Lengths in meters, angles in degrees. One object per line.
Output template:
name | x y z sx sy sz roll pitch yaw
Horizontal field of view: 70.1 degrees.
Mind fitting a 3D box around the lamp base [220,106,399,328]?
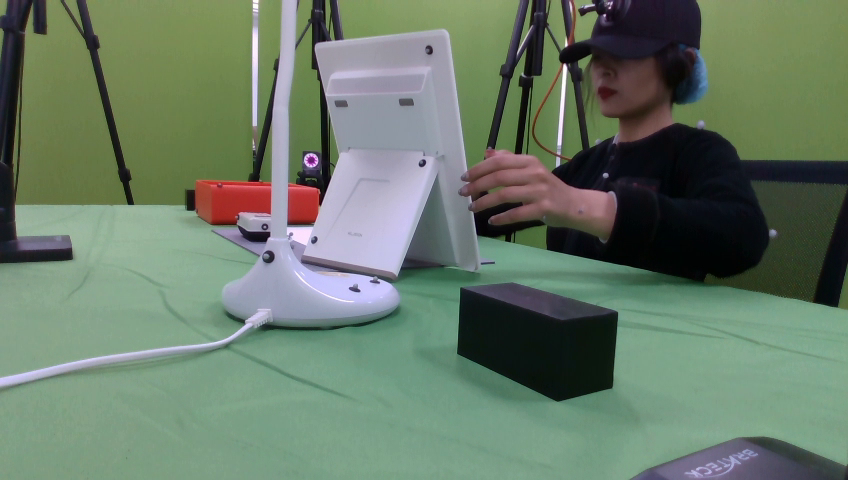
lamp base | -0.102 -0.023 0.531 0.160 0.180 0.179 4 10 10

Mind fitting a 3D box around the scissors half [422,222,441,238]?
scissors half | 0.013 -0.018 1.217 0.040 0.013 0.175 14 9 1

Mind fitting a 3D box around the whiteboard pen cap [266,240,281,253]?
whiteboard pen cap | -0.202 0.009 0.813 0.018 0.018 0.033 1 3 -8

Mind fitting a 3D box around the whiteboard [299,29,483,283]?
whiteboard | -0.074 -0.082 0.742 0.216 0.305 0.144 9 29 38

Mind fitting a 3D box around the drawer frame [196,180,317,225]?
drawer frame | -0.359 -0.083 1.292 0.215 0.082 0.200 -2 10 -30

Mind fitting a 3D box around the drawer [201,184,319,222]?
drawer | -0.353 -0.082 1.296 0.213 0.073 0.193 -2 10 -28

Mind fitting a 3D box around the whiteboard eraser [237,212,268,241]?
whiteboard eraser | -0.272 -0.023 0.998 0.056 0.042 0.112 -3 9 -26

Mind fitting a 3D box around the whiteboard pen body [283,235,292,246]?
whiteboard pen body | -0.206 0.005 0.872 0.017 0.017 0.140 2 4 -6

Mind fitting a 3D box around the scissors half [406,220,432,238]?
scissors half | -0.006 -0.022 1.215 0.040 0.013 0.174 6 10 -15
